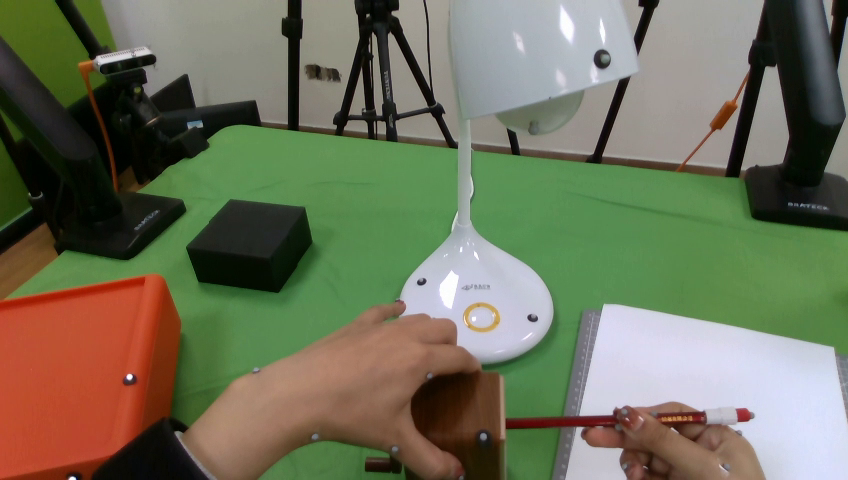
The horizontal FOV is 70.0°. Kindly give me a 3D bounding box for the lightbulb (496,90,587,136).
[{"bbox_3d":[0.068,-0.118,0.368,0.059,0.108,0.059,-5,12,2],"label":"lightbulb"}]

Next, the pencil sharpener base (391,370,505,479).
[{"bbox_3d":[0.020,0.151,0.443,0.076,0.108,0.061,-1,37,6],"label":"pencil sharpener base"}]

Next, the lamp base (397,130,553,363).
[{"bbox_3d":[0.045,-0.003,0.590,0.161,0.182,0.177,-10,35,-9],"label":"lamp base"}]

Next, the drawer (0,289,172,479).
[{"bbox_3d":[-0.321,0.138,0.511,0.195,0.074,0.209,-10,36,-8],"label":"drawer"}]

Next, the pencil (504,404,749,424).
[{"bbox_3d":[0.121,0.122,0.420,0.194,0.012,0.012,-4,36,10],"label":"pencil"}]

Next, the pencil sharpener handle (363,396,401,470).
[{"bbox_3d":[-0.032,0.143,0.440,0.030,0.068,0.035,-1,33,6],"label":"pencil sharpener handle"}]

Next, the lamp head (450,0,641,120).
[{"bbox_3d":[0.062,-0.143,0.369,0.112,0.123,0.112,-17,8,3],"label":"lamp head"}]

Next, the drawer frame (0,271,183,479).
[{"bbox_3d":[-0.324,0.135,0.511,0.202,0.083,0.211,-11,36,-9],"label":"drawer frame"}]
